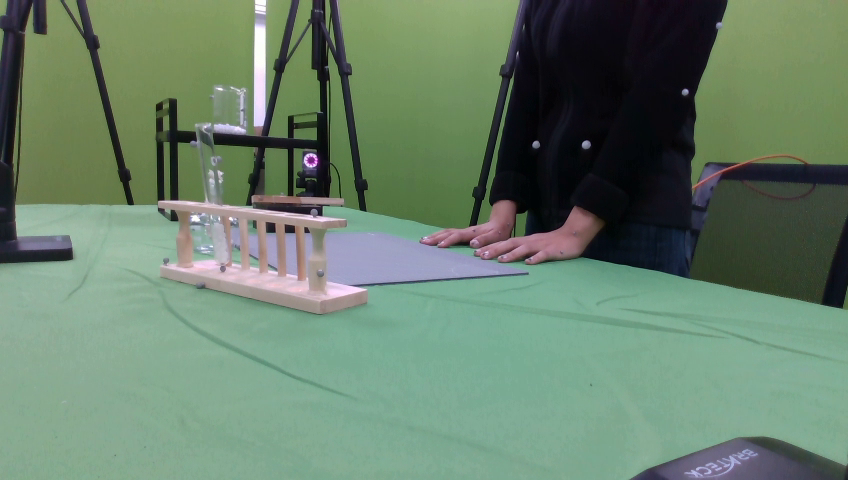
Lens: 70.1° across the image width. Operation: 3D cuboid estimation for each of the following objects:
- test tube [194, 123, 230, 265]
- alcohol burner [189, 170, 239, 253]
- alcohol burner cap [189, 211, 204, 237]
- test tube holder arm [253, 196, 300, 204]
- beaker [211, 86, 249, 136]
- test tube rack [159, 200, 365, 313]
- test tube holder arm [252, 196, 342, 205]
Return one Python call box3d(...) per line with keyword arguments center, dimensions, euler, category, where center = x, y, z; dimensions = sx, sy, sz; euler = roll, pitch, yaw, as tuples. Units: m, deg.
box3d(center=(-0.218, -0.045, 0.624), dimensions=(0.017, 0.150, 0.017), euler=(-2, 19, 1), category="test tube")
box3d(center=(-0.303, -0.042, 0.871), dimensions=(0.078, 0.119, 0.078), euler=(3, 6, 0), category="alcohol burner")
box3d(center=(-0.389, -0.029, 1.026), dimensions=(0.034, 0.048, 0.034), euler=(3, 8, 0), category="alcohol burner cap")
box3d(center=(-0.276, -0.075, 1.135), dimensions=(0.088, 0.015, 0.010), euler=(0, 7, -32), category="test tube holder arm")
box3d(center=(-0.413, -0.274, 1.297), dimensions=(0.074, 0.100, 0.083), euler=(-5, 11, -44), category="beaker")
box3d(center=(-0.173, 0.009, 0.625), dimensions=(0.241, 0.085, 0.067), euler=(7, 9, 34), category="test tube rack")
box3d(center=(-0.241, -0.076, 1.164), dimensions=(0.179, 0.015, 0.013), euler=(-1, 7, -33), category="test tube holder arm")
